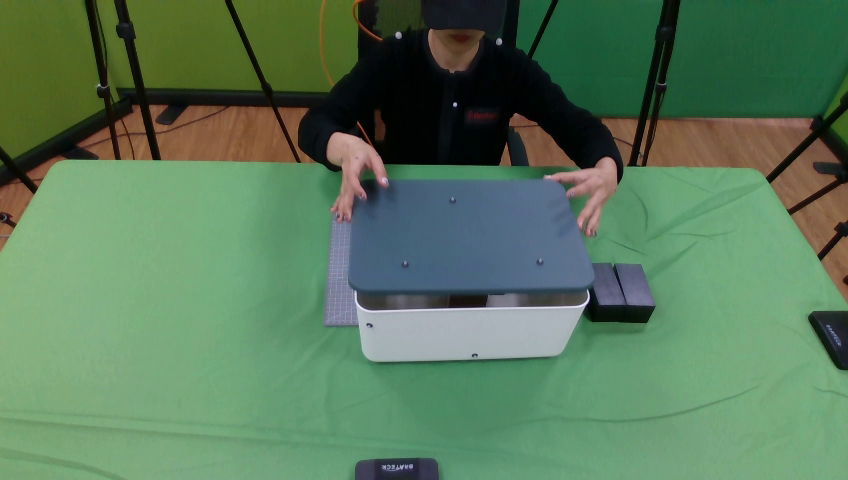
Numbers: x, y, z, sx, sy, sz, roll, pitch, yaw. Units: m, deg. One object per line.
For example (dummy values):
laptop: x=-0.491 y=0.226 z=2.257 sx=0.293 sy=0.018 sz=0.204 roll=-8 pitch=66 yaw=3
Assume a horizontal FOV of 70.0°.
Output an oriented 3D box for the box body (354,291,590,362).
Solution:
box body: x=0.065 y=0.066 z=1.040 sx=0.364 sy=0.161 sz=0.252 roll=-1 pitch=46 yaw=-5

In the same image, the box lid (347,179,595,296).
box lid: x=0.068 y=-0.013 z=0.961 sx=0.372 sy=0.015 sz=0.261 roll=-1 pitch=43 yaw=-4

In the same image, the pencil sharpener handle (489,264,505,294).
pencil sharpener handle: x=0.129 y=0.070 z=1.051 sx=0.031 sy=0.068 sz=0.036 roll=1 pitch=47 yaw=-3

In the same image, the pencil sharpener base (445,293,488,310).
pencil sharpener base: x=0.078 y=0.078 z=1.057 sx=0.077 sy=0.107 sz=0.061 roll=1 pitch=46 yaw=-3
